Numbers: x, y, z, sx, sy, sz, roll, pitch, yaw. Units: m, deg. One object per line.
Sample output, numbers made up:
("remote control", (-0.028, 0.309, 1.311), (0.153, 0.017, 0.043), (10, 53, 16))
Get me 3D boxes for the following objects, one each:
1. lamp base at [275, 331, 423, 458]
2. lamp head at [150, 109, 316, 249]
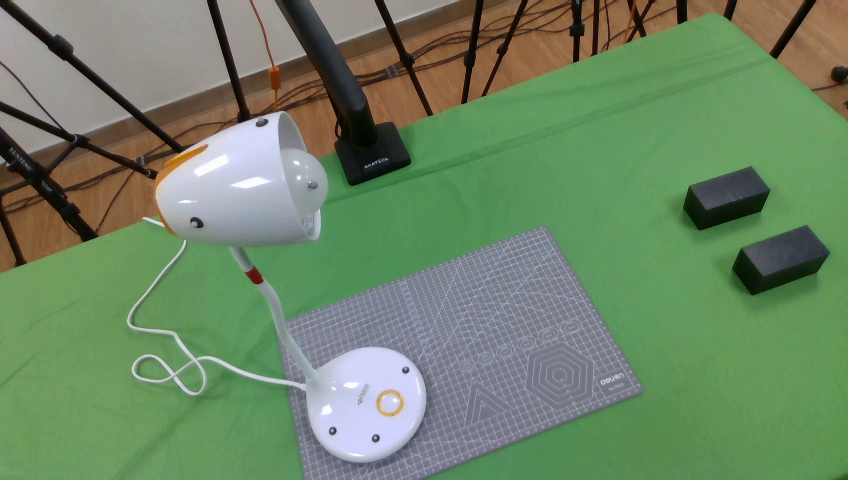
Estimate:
("lamp base", (-0.105, 0.170, 0.761), (0.179, 0.182, 0.159), (1, 55, 15))
("lamp head", (-0.161, -0.041, 0.515), (0.123, 0.113, 0.111), (-16, 54, 6))
